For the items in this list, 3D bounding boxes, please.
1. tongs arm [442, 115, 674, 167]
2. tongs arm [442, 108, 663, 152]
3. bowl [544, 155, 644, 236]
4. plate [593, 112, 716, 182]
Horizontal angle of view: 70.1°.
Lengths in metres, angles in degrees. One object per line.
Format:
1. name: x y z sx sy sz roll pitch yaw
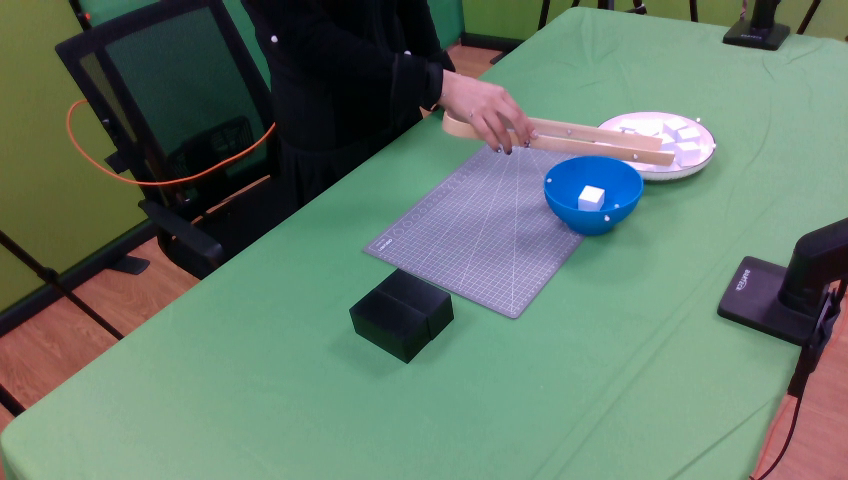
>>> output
1. tongs arm: 0.221 -0.158 0.984 0.389 0.028 0.028 8 41 -6
2. tongs arm: 0.220 -0.178 1.012 0.386 0.026 0.050 8 37 -5
3. bowl: 0.266 -0.061 0.957 0.151 0.077 0.150 -5 40 5
4. plate: 0.408 -0.163 1.084 0.207 0.039 0.206 -4 40 4
